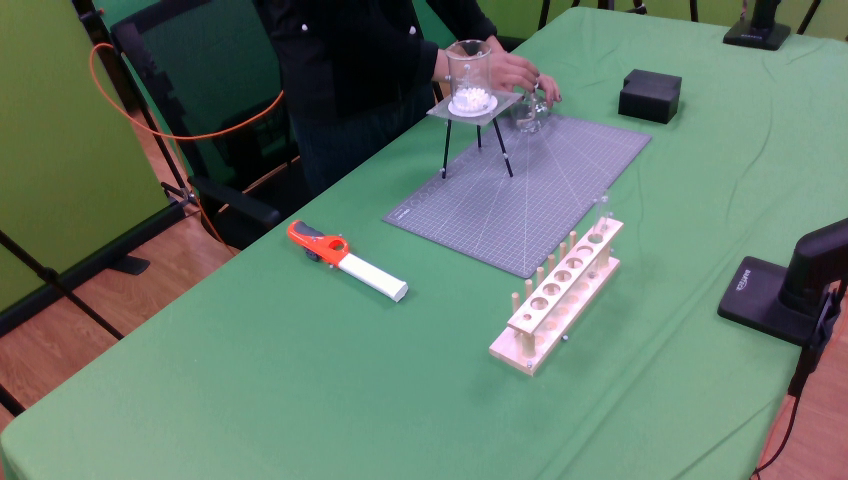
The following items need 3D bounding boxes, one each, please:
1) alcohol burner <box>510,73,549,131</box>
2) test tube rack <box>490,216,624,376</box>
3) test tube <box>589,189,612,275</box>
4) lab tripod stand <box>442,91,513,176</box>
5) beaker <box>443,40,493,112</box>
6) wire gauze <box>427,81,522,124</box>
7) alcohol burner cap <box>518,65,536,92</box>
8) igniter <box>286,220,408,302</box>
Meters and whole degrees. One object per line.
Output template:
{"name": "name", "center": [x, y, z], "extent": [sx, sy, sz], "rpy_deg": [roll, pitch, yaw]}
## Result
{"name": "alcohol burner", "center": [0.209, -0.276, 1.192], "extent": [0.078, 0.119, 0.077], "rpy_deg": [-4, 41, 4]}
{"name": "test tube rack", "center": [0.184, 0.064, 0.822], "extent": [0.066, 0.085, 0.243], "rpy_deg": [24, 50, 33]}
{"name": "test tube", "center": [0.238, -0.007, 0.818], "extent": [0.017, 0.151, 0.017], "rpy_deg": [-3, 43, 4]}
{"name": "lab tripod stand", "center": [0.096, -0.190, 1.096], "extent": [0.148, 0.132, 0.147], "rpy_deg": [-4, 40, 4]}
{"name": "beaker", "center": [0.076, -0.276, 1.023], "extent": [0.083, 0.101, 0.074], "rpy_deg": [5, 42, 16]}
{"name": "wire gauze", "center": [0.088, -0.237, 1.051], "extent": [0.120, 0.011, 0.125], "rpy_deg": [23, 47, 29]}
{"name": "alcohol burner cap", "center": [0.195, -0.312, 1.158], "extent": [0.034, 0.048, 0.033], "rpy_deg": [-10, 43, 10]}
{"name": "igniter", "center": [-0.134, 0.028, 0.969], "extent": [0.274, 0.025, 0.057], "rpy_deg": [26, 61, 35]}
